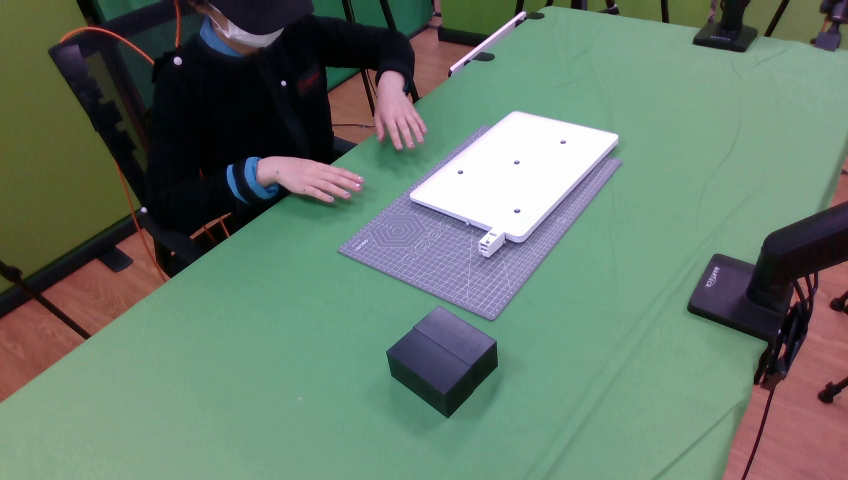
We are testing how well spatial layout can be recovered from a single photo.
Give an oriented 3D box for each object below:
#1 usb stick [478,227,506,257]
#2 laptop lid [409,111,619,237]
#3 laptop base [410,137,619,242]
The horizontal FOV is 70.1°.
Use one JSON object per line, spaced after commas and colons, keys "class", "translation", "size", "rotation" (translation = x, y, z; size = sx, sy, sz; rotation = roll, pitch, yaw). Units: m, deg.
{"class": "usb stick", "translation": [0.109, -0.001, 0.934], "size": [0.021, 0.027, 0.059], "rotation": [22, 43, 33]}
{"class": "laptop lid", "translation": [0.167, -0.137, 1.089], "size": [0.239, 0.013, 0.358], "rotation": [24, 48, 34]}
{"class": "laptop base", "translation": [0.170, -0.127, 1.096], "size": [0.233, 0.023, 0.355], "rotation": [21, 47, 34]}
